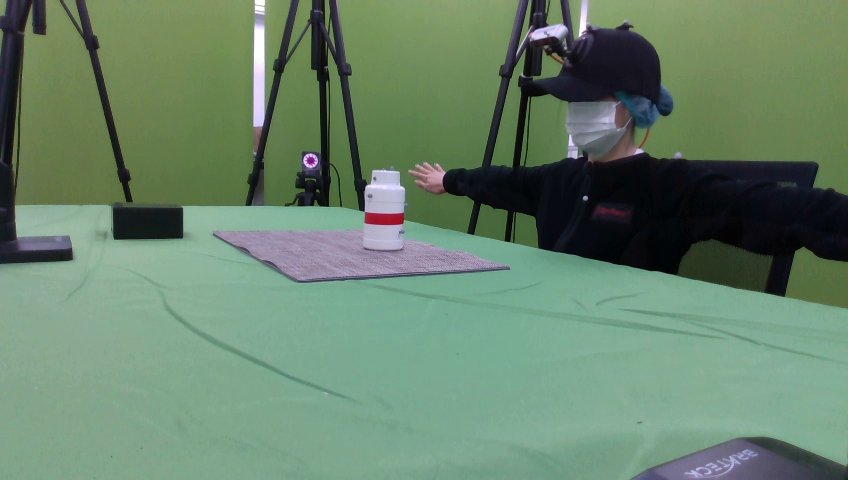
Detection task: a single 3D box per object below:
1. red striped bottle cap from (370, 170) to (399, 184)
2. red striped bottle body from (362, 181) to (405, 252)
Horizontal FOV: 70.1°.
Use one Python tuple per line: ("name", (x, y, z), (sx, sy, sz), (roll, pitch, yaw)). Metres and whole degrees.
("red striped bottle cap", (-0.059, -0.096, 0.925), (0.044, 0.017, 0.044), (6, 6, 0))
("red striped bottle body", (-0.062, -0.044, 0.933), (0.063, 0.119, 0.063), (4, 7, 0))
